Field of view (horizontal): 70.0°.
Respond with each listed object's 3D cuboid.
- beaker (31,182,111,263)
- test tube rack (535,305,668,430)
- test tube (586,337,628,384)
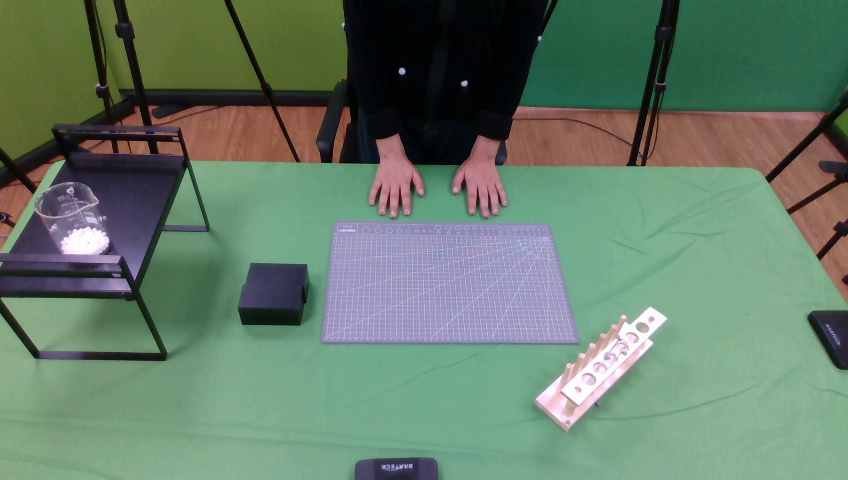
[{"bbox_3d":[-0.502,-0.022,0.877,0.084,0.101,0.073,-2,47,-7],"label":"beaker"},{"bbox_3d":[0.290,0.193,0.984,0.242,0.085,0.066,-32,57,-30],"label":"test tube rack"},{"bbox_3d":[0.273,0.191,0.916,0.017,0.151,0.017,5,50,-6],"label":"test tube"}]
